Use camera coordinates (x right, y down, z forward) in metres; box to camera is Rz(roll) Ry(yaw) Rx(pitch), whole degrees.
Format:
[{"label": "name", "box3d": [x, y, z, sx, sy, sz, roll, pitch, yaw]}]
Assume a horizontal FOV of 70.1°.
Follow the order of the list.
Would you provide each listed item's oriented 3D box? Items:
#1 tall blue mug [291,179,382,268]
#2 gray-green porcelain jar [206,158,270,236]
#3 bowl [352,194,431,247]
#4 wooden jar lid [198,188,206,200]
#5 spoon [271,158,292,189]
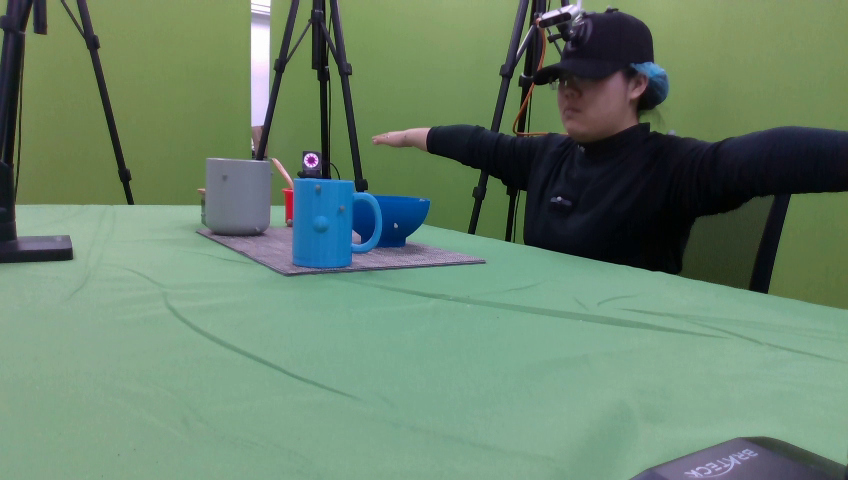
[{"label": "tall blue mug", "box3d": [-0.116, -0.023, 0.779, 0.108, 0.108, 0.077, -2, 8, -34]}, {"label": "gray-green porcelain jar", "box3d": [-0.317, -0.074, 1.032, 0.106, 0.126, 0.106, 3, 7, 0]}, {"label": "bowl", "box3d": [-0.066, -0.032, 0.984, 0.151, 0.077, 0.151, 2, 7, 0]}, {"label": "wooden jar lid", "box3d": [-0.382, -0.088, 1.175, 0.108, 0.020, 0.108, 3, 8, 0]}, {"label": "spoon", "box3d": [-0.268, -0.103, 1.236, 0.042, 0.193, 0.021, -10, -32, -39]}]
